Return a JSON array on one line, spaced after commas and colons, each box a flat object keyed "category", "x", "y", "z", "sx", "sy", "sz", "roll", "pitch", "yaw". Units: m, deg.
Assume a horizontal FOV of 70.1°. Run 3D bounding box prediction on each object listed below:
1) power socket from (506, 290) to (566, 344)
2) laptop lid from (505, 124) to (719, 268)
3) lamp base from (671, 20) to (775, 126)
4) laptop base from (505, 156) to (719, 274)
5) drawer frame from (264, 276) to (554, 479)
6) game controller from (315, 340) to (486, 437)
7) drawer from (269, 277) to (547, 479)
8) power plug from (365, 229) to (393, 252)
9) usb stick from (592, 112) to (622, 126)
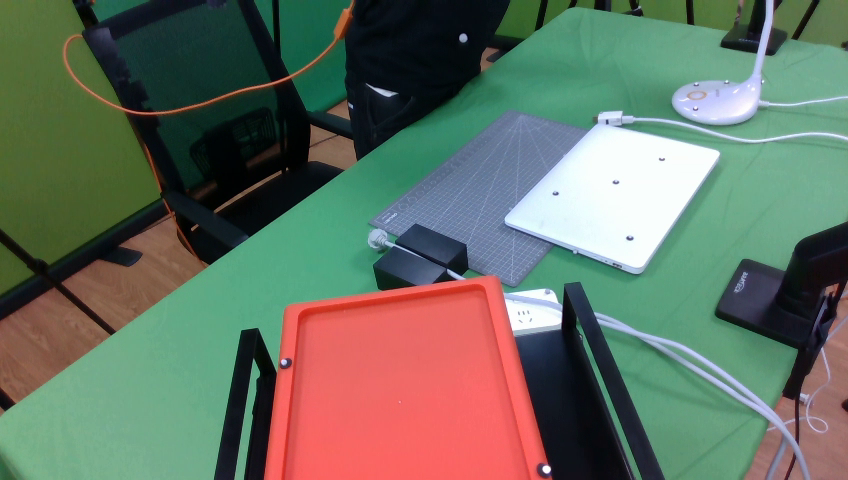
[{"category": "power socket", "x": 0.081, "y": 0.112, "z": 0.822, "sx": 0.227, "sy": 0.033, "sz": 0.072, "roll": -7, "pitch": 41, "yaw": 0}, {"category": "laptop lid", "x": 0.323, "y": -0.093, "z": 1.021, "sx": 0.240, "sy": 0.013, "sz": 0.358, "roll": 23, "pitch": 49, "yaw": 32}, {"category": "lamp base", "x": 0.582, "y": -0.332, "z": 1.153, "sx": 0.179, "sy": 0.181, "sz": 0.160, "roll": 2, "pitch": 41, "yaw": 7}, {"category": "laptop base", "x": 0.326, "y": -0.083, "z": 1.028, "sx": 0.233, "sy": 0.023, "sz": 0.355, "roll": 21, "pitch": 48, "yaw": 32}, {"category": "drawer frame", "x": -0.016, "y": 0.137, "z": 0.490, "sx": 0.202, "sy": 0.083, "sz": 0.212, "roll": -8, "pitch": 41, "yaw": -2}, {"category": "game controller", "x": -0.021, "y": 0.120, "z": 0.534, "sx": 0.155, "sy": 0.052, "sz": 0.096, "roll": -3, "pitch": 39, "yaw": 1}, {"category": "drawer", "x": -0.018, "y": 0.137, "z": 0.493, "sx": 0.195, "sy": 0.073, "sz": 0.210, "roll": -7, "pitch": 41, "yaw": -1}, {"category": "power plug", "x": -0.068, "y": 0.010, "z": 0.954, "sx": 0.035, "sy": 0.053, "sz": 0.072, "roll": -38, "pitch": 52, "yaw": 2}, {"category": "usb stick", "x": 0.361, "y": -0.239, "z": 1.197, "sx": 0.059, "sy": 0.021, "sz": 0.027, "roll": 4, "pitch": 42, "yaw": 27}]
